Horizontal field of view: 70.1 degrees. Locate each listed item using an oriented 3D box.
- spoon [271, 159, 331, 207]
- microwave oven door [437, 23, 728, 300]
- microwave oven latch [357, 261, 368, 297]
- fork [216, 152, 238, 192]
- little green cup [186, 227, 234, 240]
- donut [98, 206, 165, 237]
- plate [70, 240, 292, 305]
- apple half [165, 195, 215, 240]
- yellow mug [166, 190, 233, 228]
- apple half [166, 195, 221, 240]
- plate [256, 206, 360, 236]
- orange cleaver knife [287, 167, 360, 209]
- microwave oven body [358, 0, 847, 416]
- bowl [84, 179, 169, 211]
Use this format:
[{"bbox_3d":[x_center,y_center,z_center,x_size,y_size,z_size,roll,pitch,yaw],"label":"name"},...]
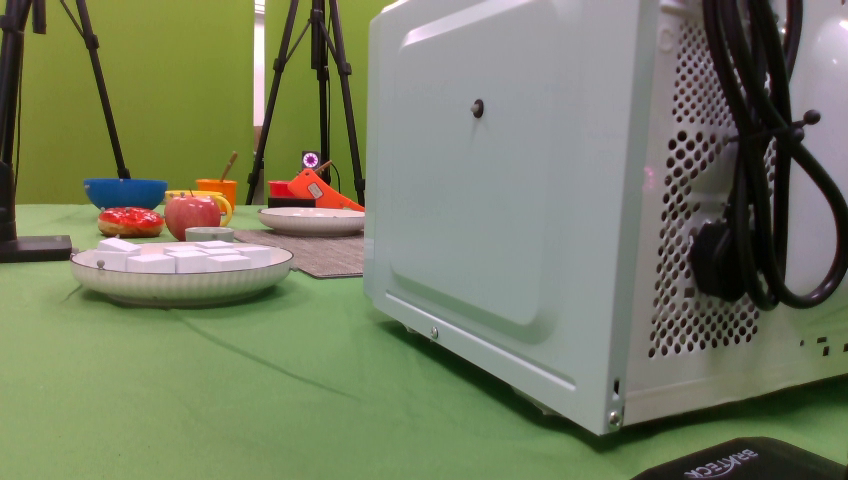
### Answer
[{"bbox_3d":[-0.307,-0.141,1.513,0.193,0.021,0.041,-42,3,8],"label":"spoon"},{"bbox_3d":[0.180,-0.072,0.621,0.358,0.243,0.039,-2,9,-29],"label":"microwave oven door"},{"bbox_3d":[-0.019,0.033,0.530,0.079,0.029,0.030,-1,7,-26],"label":"microwave oven latch"},{"bbox_3d":[-0.455,-0.132,1.366,0.028,0.018,0.207,-2,-35,-37],"label":"fork"},{"bbox_3d":[-0.284,0.005,0.805,0.061,0.038,0.061,2,8,0],"label":"little green cup"},{"bbox_3d":[-0.472,-0.028,0.979,0.099,0.048,0.099,5,8,0],"label":"donut"},{"bbox_3d":[-0.242,0.031,0.618,0.208,0.039,0.207,2,8,0],"label":"plate"},{"bbox_3d":[-0.377,-0.038,0.964,0.082,0.081,0.032,-4,14,-39],"label":"apple half"},{"bbox_3d":[-0.415,-0.057,1.132,0.130,0.064,0.100,6,8,16],"label":"yellow mug"},{"bbox_3d":[-0.352,-0.031,0.935,0.081,0.074,0.053,1,11,-40],"label":"apple half"},{"bbox_3d":[-0.202,-0.037,1.120,0.209,0.038,0.209,2,8,0],"label":"plate"},{"bbox_3d":[-0.209,-0.089,1.383,0.212,0.077,0.012,31,3,-15],"label":"orange cleaver knife"},{"bbox_3d":[0.211,-0.047,0.474,0.444,0.260,0.324,-1,8,-28],"label":"microwave oven body"},{"bbox_3d":[-0.584,-0.078,1.194,0.151,0.077,0.151,3,8,0],"label":"bowl"}]
